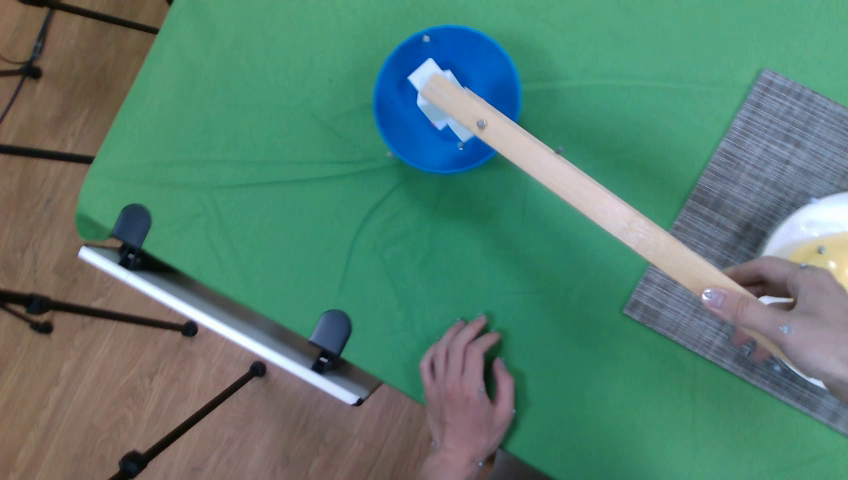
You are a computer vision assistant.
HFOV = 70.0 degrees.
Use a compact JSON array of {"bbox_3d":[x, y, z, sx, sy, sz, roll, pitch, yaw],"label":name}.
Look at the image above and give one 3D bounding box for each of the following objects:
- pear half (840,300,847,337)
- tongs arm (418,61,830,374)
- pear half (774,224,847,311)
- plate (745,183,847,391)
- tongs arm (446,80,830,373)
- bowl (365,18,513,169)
[{"bbox_3d":[0.468,0.076,0.604,0.088,0.031,0.070,-29,89,12],"label":"pear half"},{"bbox_3d":[0.142,-0.029,0.483,0.385,0.028,0.028,40,100,16],"label":"tongs arm"},{"bbox_3d":[0.410,0.017,0.603,0.076,0.056,0.110,39,89,1],"label":"pear half"},{"bbox_3d":[0.431,0.046,0.613,0.207,0.039,0.207,0,89,6],"label":"plate"},{"bbox_3d":[0.158,-0.028,0.520,0.382,0.051,0.026,40,103,17],"label":"tongs arm"},{"bbox_3d":[0.019,-0.145,0.643,0.151,0.077,0.151,0,89,6],"label":"bowl"}]
